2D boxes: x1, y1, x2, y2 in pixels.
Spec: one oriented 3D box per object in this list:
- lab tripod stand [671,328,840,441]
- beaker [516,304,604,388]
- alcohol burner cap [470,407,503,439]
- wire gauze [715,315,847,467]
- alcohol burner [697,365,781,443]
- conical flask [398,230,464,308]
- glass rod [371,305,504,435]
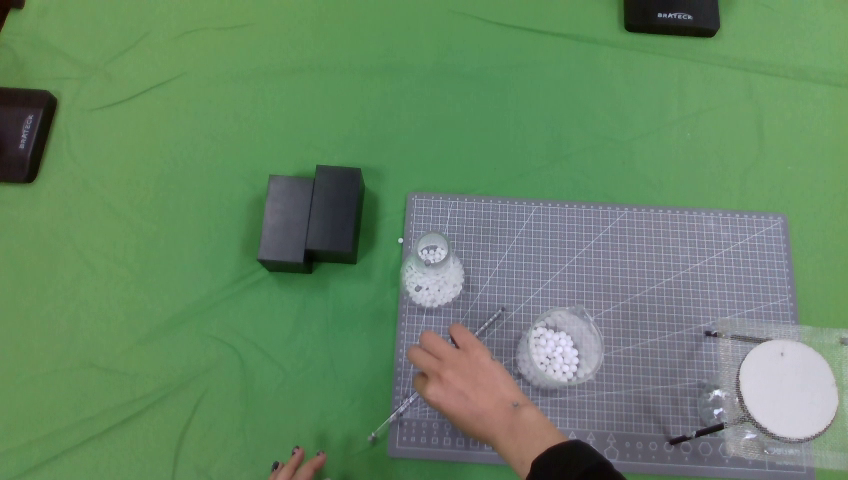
[{"bbox_3d":[0.320,0.152,0.593,0.148,0.132,0.147,0,75,0],"label":"lab tripod stand"},{"bbox_3d":[0.136,0.111,0.623,0.074,0.101,0.083,26,74,8],"label":"beaker"},{"bbox_3d":[0.066,0.189,0.629,0.034,0.048,0.033,1,71,-2],"label":"alcohol burner cap"},{"bbox_3d":[0.320,0.130,0.529,0.125,0.011,0.121,6,75,2],"label":"wire gauze"},{"bbox_3d":[0.321,0.161,0.601,0.078,0.120,0.077,-1,73,3],"label":"alcohol burner"},{"bbox_3d":[0.008,0.025,0.636,0.075,0.122,0.075,0,73,0],"label":"conical flask"},{"bbox_3d":[0.018,0.140,0.660,0.199,0.008,0.008,-42,78,-11],"label":"glass rod"}]
